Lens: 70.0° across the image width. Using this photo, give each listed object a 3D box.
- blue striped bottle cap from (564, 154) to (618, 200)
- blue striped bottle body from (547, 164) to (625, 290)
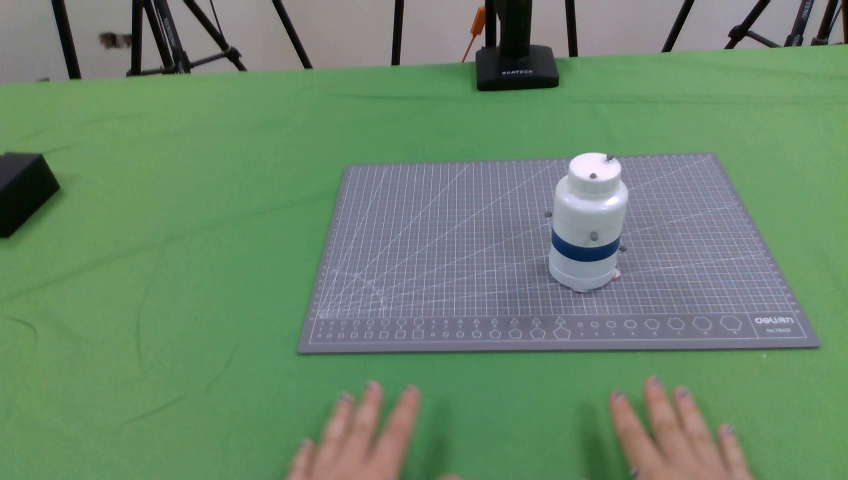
[{"bbox_3d":[0.144,-0.055,0.522,0.044,0.021,0.044,-2,41,2],"label":"blue striped bottle cap"},{"bbox_3d":[0.148,-0.016,0.555,0.063,0.122,0.062,-3,41,3],"label":"blue striped bottle body"}]
